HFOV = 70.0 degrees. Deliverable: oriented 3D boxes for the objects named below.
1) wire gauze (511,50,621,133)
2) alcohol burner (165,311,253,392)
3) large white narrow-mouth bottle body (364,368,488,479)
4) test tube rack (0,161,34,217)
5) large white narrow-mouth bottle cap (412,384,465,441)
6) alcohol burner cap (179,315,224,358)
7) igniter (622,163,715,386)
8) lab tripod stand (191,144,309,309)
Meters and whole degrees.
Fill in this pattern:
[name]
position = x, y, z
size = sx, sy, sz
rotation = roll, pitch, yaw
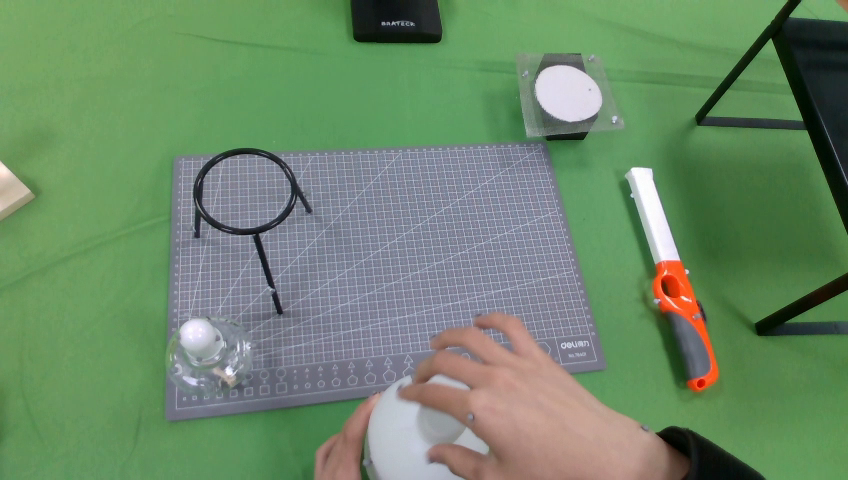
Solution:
[wire gauze]
position = 0.174, -0.187, 0.751
size = 0.122, 0.011, 0.124
rotation = -3, 66, -9
[alcohol burner]
position = -0.198, 0.096, 0.552
size = 0.078, 0.120, 0.077
rotation = 4, 62, -8
[large white narrow-mouth bottle body]
position = 0.001, 0.163, 0.509
size = 0.102, 0.196, 0.101
rotation = 3, 63, -6
[test tube rack]
position = -0.518, -0.011, 0.573
size = 0.066, 0.085, 0.242
rotation = 40, 65, 11
[large white narrow-mouth bottle cap]
position = 0.010, 0.123, 0.431
size = 0.038, 0.024, 0.037
rotation = 3, 64, -6
[alcohol burner cap]
position = -0.193, 0.082, 0.520
size = 0.034, 0.048, 0.033
rotation = 3, 70, -7
[igniter]
position = 0.283, 0.032, 0.706
size = 0.057, 0.025, 0.274
rotation = 1, 65, -19
[lab tripod stand]
position = -0.167, -0.018, 0.600
size = 0.149, 0.132, 0.147
rotation = 4, 64, -8
